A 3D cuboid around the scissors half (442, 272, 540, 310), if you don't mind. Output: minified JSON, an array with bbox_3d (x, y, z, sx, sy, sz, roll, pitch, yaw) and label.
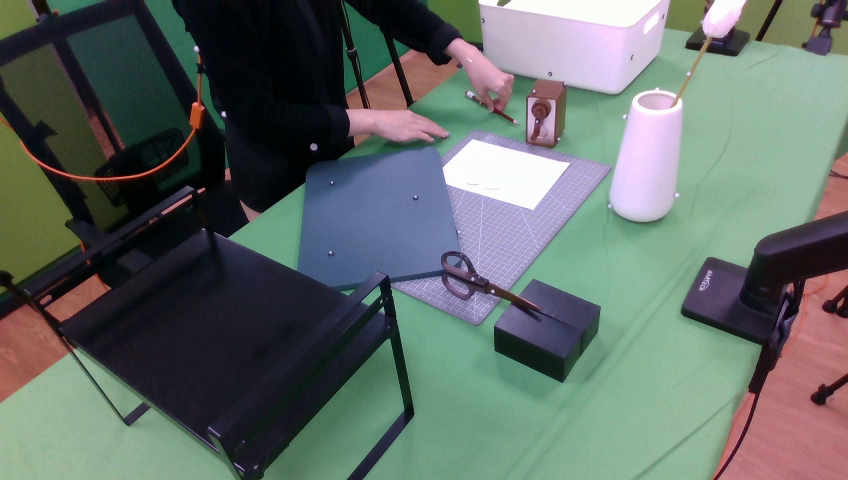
[{"bbox_3d":[0.089,0.074,0.832,0.013,0.040,0.173,-24,23,-38],"label":"scissors half"}]

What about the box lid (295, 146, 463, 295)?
[{"bbox_3d":[-0.084,-0.048,1.052,0.263,0.015,0.369,-9,40,0],"label":"box lid"}]

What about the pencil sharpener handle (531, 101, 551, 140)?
[{"bbox_3d":[0.211,-0.220,1.118,0.036,0.068,0.030,17,46,17],"label":"pencil sharpener handle"}]

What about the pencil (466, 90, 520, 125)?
[{"bbox_3d":[0.147,-0.284,1.295,0.012,0.012,0.192,-25,44,-20],"label":"pencil"}]

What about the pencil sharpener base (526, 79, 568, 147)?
[{"bbox_3d":[0.235,-0.242,1.160,0.061,0.107,0.077,12,45,21],"label":"pencil sharpener base"}]

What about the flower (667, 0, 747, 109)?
[{"bbox_3d":[0.354,-0.187,0.879,0.038,0.362,0.044,30,48,14],"label":"flower"}]

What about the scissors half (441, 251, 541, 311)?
[{"bbox_3d":[0.087,0.056,0.824,0.173,0.040,0.013,29,44,36],"label":"scissors half"}]

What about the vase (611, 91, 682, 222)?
[{"bbox_3d":[0.348,-0.125,0.935,0.098,0.201,0.097,-3,40,3],"label":"vase"}]

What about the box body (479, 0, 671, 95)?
[{"bbox_3d":[0.339,-0.480,1.381,0.361,0.161,0.255,22,48,30],"label":"box body"}]
